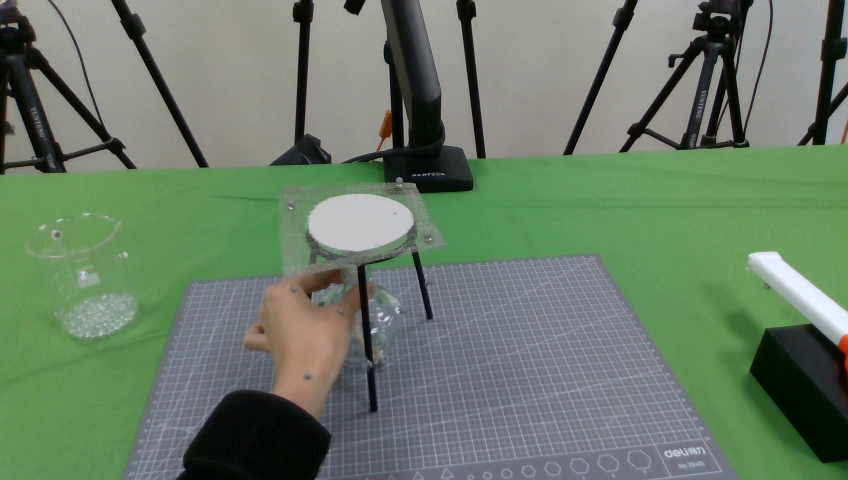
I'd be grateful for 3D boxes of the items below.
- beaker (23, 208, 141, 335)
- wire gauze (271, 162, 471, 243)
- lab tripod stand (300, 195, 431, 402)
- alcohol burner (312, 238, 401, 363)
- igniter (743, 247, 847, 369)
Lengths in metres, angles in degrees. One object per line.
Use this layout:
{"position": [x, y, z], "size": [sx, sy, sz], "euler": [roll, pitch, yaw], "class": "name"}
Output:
{"position": [-0.312, 0.030, 0.568], "size": [0.073, 0.101, 0.084], "euler": [28, 42, 34], "class": "beaker"}
{"position": [-0.044, -0.031, 0.477], "size": [0.125, 0.011, 0.120], "euler": [-12, 31, -31], "class": "wire gauze"}
{"position": [-0.049, 0.041, 0.520], "size": [0.148, 0.132, 0.147], "euler": [2, 35, -1], "class": "lab tripod stand"}
{"position": [-0.059, 0.048, 0.527], "size": [0.078, 0.120, 0.077], "euler": [2, 34, -1], "class": "alcohol burner"}
{"position": [0.347, 0.083, 0.480], "size": [0.057, 0.025, 0.273], "euler": [-4, 31, -7], "class": "igniter"}
